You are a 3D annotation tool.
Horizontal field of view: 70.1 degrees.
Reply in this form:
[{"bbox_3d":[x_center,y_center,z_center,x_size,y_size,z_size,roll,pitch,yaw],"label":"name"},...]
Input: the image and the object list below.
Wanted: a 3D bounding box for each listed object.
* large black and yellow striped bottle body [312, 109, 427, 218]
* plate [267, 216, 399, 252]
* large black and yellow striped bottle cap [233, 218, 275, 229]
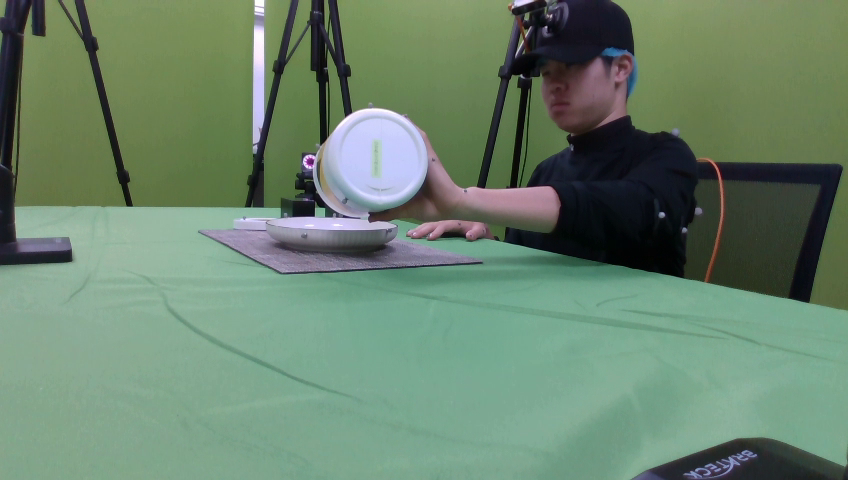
[{"bbox_3d":[-0.084,-0.099,0.842,0.131,0.130,0.183,0,-2,-19],"label":"large black and yellow striped bottle body"},{"bbox_3d":[-0.145,-0.010,0.967,0.208,0.039,0.207,2,7,0],"label":"plate"},{"bbox_3d":[-0.311,-0.032,1.172,0.115,0.019,0.115,1,4,0],"label":"large black and yellow striped bottle cap"}]
